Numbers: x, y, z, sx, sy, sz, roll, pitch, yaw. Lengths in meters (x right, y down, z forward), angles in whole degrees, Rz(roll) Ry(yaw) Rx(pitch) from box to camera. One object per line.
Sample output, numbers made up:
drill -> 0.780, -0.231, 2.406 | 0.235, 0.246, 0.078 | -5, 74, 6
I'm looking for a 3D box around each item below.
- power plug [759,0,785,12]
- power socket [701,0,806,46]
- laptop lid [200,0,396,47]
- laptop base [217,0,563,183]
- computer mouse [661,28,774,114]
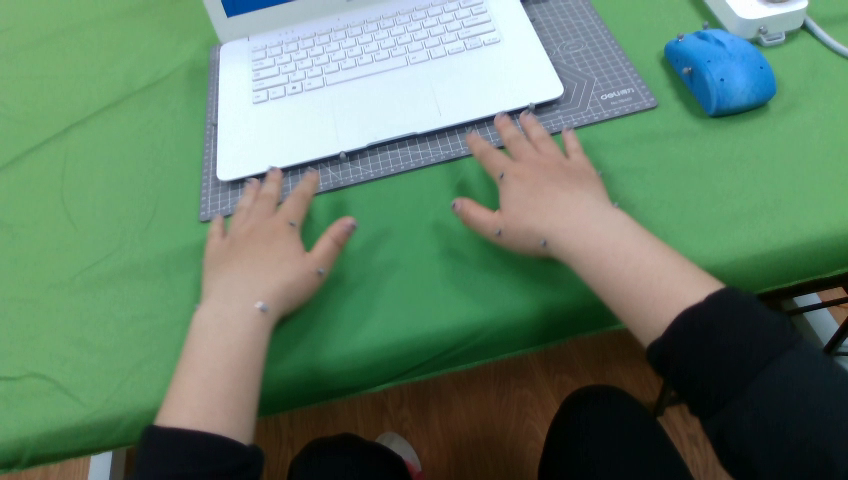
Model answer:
power plug -> 0.366, -0.251, 0.595 | 0.072, 0.053, 0.035 | -3, 54, 10
power socket -> 0.330, -0.291, 0.659 | 0.072, 0.033, 0.224 | -11, 52, 3
laptop lid -> -0.099, -0.362, 0.662 | 0.357, 0.244, 0.013 | -16, 39, 1
laptop base -> -0.053, -0.183, 0.664 | 0.354, 0.023, 0.233 | -14, 55, 0
computer mouse -> 0.275, -0.168, 0.572 | 0.063, 0.041, 0.116 | -15, 46, 3
